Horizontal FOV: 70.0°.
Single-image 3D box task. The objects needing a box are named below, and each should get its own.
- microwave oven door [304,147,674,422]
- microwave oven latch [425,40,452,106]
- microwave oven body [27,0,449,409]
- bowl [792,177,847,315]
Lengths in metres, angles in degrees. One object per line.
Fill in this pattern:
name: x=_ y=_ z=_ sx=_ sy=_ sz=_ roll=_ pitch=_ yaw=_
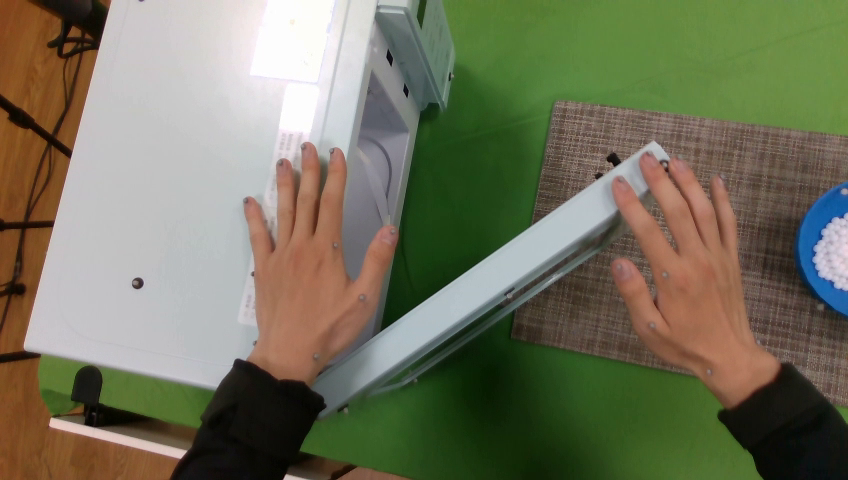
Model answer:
microwave oven door: x=0.069 y=0.055 z=0.600 sx=0.356 sy=0.245 sz=0.039 roll=-36 pitch=75 yaw=3
microwave oven latch: x=0.016 y=-0.209 z=0.753 sx=0.030 sy=0.029 sz=0.079 roll=9 pitch=84 yaw=11
microwave oven body: x=-0.175 y=-0.072 z=0.667 sx=0.325 sy=0.261 sz=0.440 roll=8 pitch=83 yaw=11
bowl: x=0.456 y=0.012 z=0.634 sx=0.151 sy=0.077 sz=0.151 roll=-2 pitch=81 yaw=10
